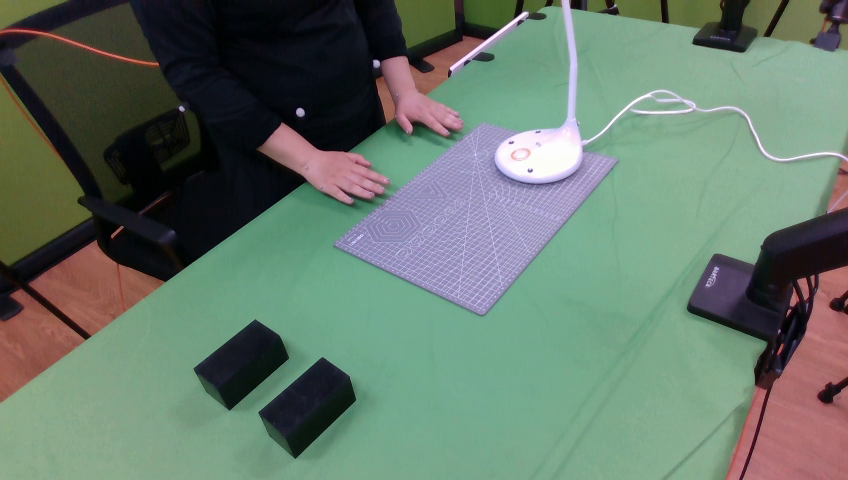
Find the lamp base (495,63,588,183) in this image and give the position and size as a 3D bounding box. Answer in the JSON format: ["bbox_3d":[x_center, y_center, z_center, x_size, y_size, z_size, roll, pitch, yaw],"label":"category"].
[{"bbox_3d":[0.214,-0.217,1.067,0.180,0.181,0.159,-20,42,-18],"label":"lamp base"}]
